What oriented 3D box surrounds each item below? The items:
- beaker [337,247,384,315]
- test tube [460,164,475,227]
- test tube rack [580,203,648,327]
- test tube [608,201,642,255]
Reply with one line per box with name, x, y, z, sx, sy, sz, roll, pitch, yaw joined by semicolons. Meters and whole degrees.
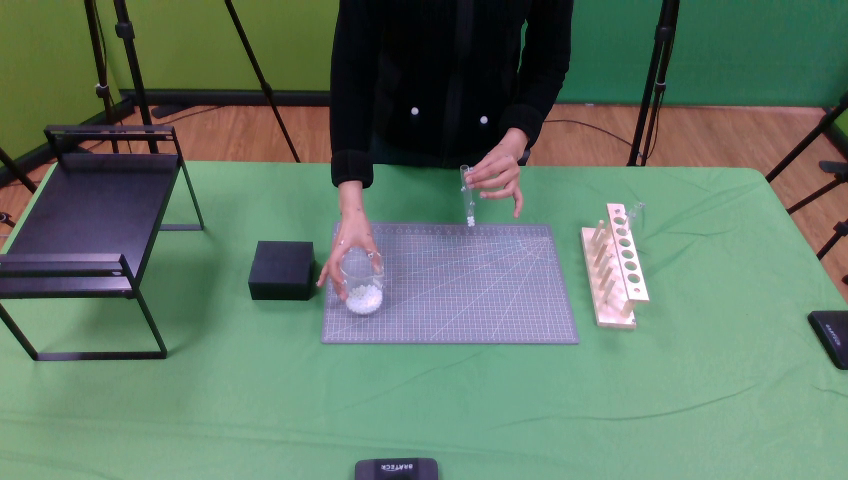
beaker;-0.105;0.075;1.044;0.083;0.101;0.074;23;47;20
test tube;0.080;-0.078;1.104;0.017;0.151;0.017;-5;47;6
test tube rack;0.352;0.041;1.142;0.067;0.085;0.241;4;46;0
test tube;0.373;-0.019;1.133;0.017;0.151;0.017;3;52;-4
